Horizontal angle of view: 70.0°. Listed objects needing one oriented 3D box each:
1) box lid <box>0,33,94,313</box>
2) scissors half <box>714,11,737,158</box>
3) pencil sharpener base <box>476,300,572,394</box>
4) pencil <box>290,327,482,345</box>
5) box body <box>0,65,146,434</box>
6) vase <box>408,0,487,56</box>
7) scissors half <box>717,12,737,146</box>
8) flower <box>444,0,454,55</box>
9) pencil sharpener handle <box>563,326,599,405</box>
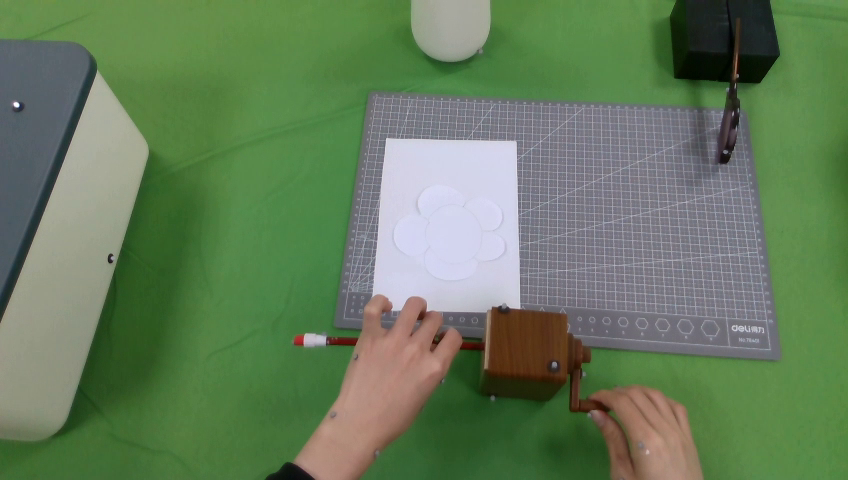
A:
[{"bbox_3d":[-0.458,-0.037,0.521,0.263,0.015,0.368,4,67,3],"label":"box lid"},{"bbox_3d":[0.343,-0.177,0.684,0.012,0.040,0.175,8,85,20],"label":"scissors half"},{"bbox_3d":[0.090,0.102,0.559,0.076,0.108,0.061,4,66,4],"label":"pencil sharpener base"},{"bbox_3d":[-0.021,0.087,0.537,0.194,0.012,0.012,2,67,0],"label":"pencil"},{"bbox_3d":[-0.456,-0.004,0.590,0.254,0.161,0.361,4,67,3],"label":"box body"},{"bbox_3d":[0.025,-0.303,0.682,0.098,0.201,0.097,-1,66,3],"label":"vase"},{"bbox_3d":[0.337,-0.182,0.666,0.013,0.040,0.174,9,68,15],"label":"scissors half"},{"bbox_3d":[0.016,-0.349,0.611,0.044,0.365,0.038,-3,49,4],"label":"flower"},{"bbox_3d":[0.138,0.110,0.529,0.030,0.036,0.067,5,84,4],"label":"pencil sharpener handle"}]
